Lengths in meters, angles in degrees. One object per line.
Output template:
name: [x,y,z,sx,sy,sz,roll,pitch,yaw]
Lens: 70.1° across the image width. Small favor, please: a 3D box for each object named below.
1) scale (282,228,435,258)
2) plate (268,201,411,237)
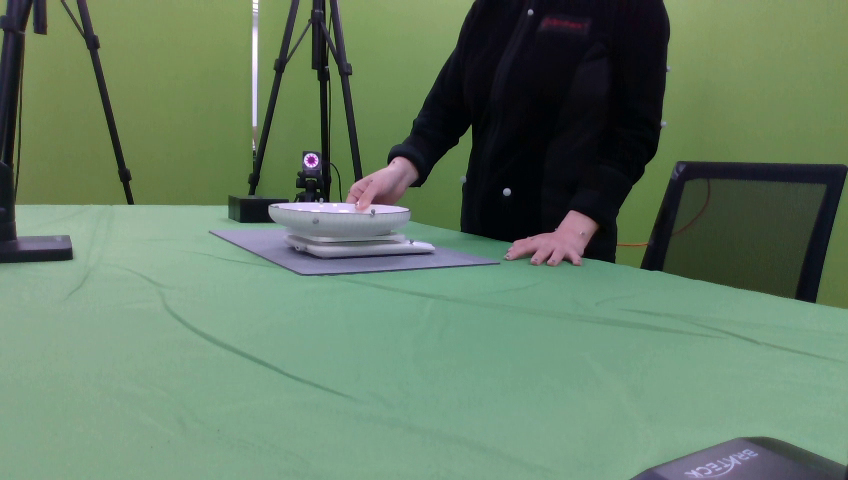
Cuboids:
scale: [-0.098,0.000,0.914,0.202,0.031,0.148,-2,9,-34]
plate: [-0.123,-0.032,0.894,0.209,0.038,0.209,2,7,0]
